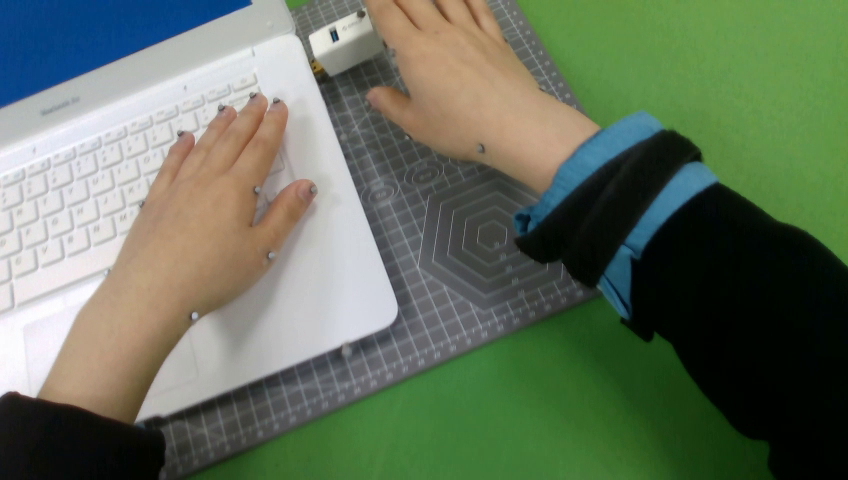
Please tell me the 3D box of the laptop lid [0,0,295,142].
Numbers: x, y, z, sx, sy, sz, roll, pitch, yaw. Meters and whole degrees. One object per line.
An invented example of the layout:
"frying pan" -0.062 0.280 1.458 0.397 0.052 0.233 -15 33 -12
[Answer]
"laptop lid" -0.288 -0.171 0.367 0.357 0.244 0.013 -23 41 1

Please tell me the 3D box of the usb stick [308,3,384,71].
"usb stick" -0.059 -0.135 0.414 0.059 0.027 0.021 -23 68 13

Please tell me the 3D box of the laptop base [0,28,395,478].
"laptop base" -0.215 0.012 0.399 0.354 0.023 0.233 -22 70 0
